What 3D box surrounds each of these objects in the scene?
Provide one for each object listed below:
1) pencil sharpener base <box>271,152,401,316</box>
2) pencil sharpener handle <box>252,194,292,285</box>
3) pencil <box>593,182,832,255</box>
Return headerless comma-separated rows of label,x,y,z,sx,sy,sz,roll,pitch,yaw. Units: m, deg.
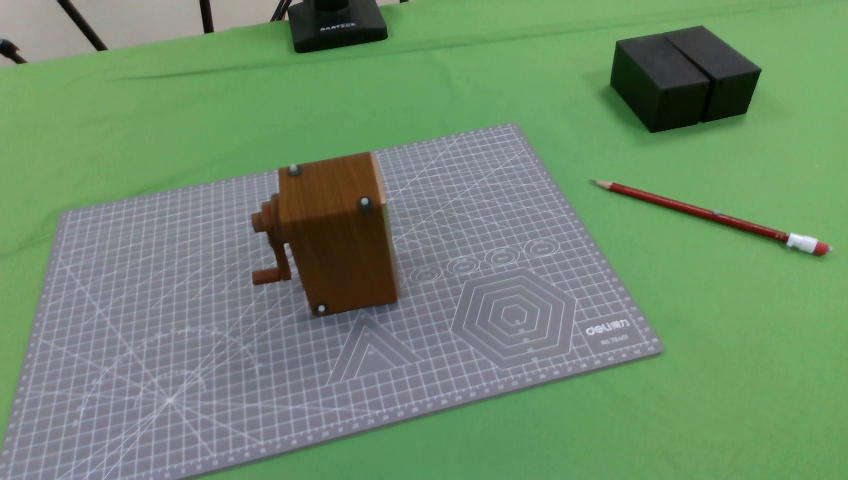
pencil sharpener base,-0.062,-0.001,0.446,0.077,0.108,0.060,-11,46,-5
pencil sharpener handle,-0.113,0.002,0.429,0.031,0.068,0.035,-11,29,-5
pencil,0.237,-0.023,0.516,0.192,0.012,0.012,21,51,25
